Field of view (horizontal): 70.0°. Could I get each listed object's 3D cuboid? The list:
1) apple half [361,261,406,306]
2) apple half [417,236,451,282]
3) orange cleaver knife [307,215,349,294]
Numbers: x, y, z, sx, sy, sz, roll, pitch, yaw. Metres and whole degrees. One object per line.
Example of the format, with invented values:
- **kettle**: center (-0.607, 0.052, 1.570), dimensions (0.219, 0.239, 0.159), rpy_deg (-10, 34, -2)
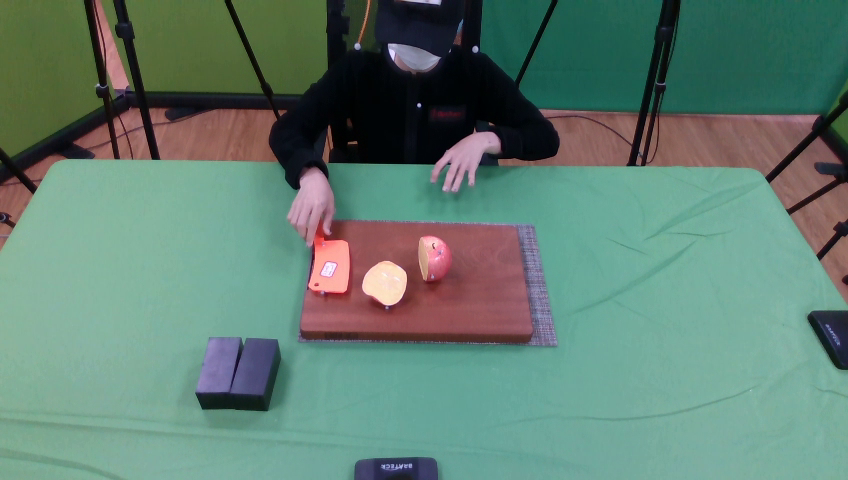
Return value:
- **apple half**: center (-0.067, 0.079, 1.064), dimensions (0.081, 0.033, 0.081), rpy_deg (-1, 69, 4)
- **apple half**: center (0.020, 0.035, 1.092), dimensions (0.053, 0.075, 0.080), rpy_deg (-4, 42, -14)
- **orange cleaver knife**: center (-0.180, 0.023, 1.126), dimensions (0.077, 0.012, 0.210), rpy_deg (-6, 44, -7)
